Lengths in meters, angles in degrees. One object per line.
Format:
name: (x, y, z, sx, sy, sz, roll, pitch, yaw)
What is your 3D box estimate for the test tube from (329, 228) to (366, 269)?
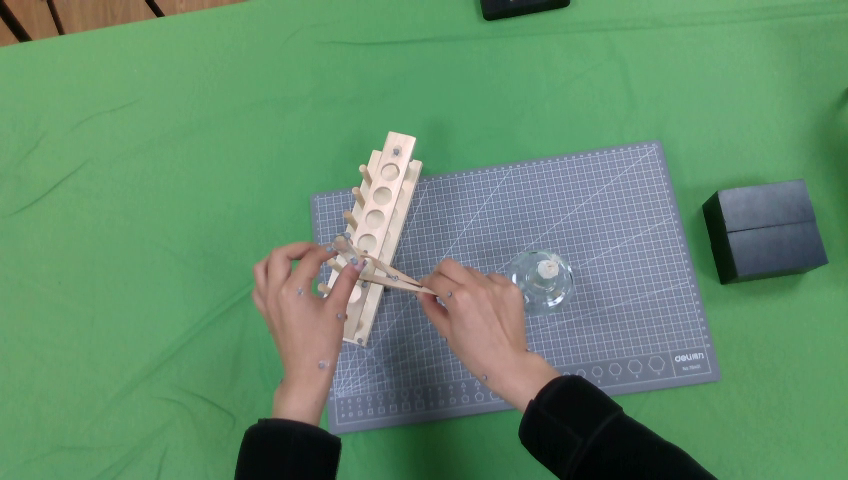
test tube: (-0.073, 0.014, 0.615, 0.017, 0.151, 0.017, -1, 76, 3)

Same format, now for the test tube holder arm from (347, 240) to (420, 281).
test tube holder arm: (-0.042, 0.025, 0.630, 0.087, 0.015, 0.010, 29, 77, 20)

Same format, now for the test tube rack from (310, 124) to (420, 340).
test tube rack: (-0.073, -0.011, 0.713, 0.066, 0.085, 0.241, 15, 77, 9)

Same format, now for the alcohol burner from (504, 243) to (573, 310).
alcohol burner: (0.129, 0.037, 0.672, 0.078, 0.120, 0.077, -1, 74, 2)

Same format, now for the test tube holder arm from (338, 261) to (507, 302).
test tube holder arm: (-0.003, 0.042, 0.616, 0.178, 0.015, 0.013, 11, 73, 15)
